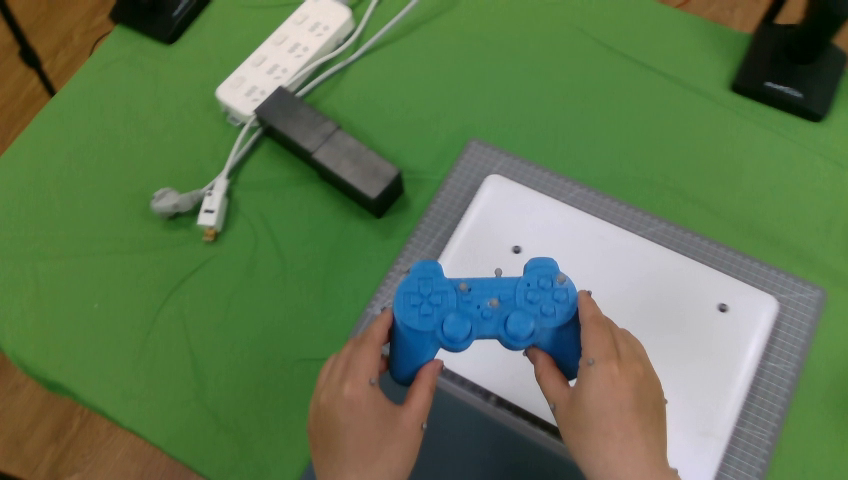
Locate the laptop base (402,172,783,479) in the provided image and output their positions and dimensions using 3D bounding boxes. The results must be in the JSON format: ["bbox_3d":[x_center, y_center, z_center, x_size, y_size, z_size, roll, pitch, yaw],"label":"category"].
[{"bbox_3d":[0.181,0.089,0.666,0.353,0.023,0.235,26,75,13],"label":"laptop base"}]

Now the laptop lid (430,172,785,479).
[{"bbox_3d":[0.179,0.086,0.655,0.355,0.013,0.241,28,74,14],"label":"laptop lid"}]

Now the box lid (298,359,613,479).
[{"bbox_3d":[0.040,0.305,0.592,0.370,0.015,0.262,26,72,13],"label":"box lid"}]

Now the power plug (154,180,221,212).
[{"bbox_3d":[-0.296,-0.057,0.752,0.052,0.035,0.073,22,28,36],"label":"power plug"}]

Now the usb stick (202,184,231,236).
[{"bbox_3d":[-0.252,-0.035,0.733,0.021,0.027,0.059,8,76,-1],"label":"usb stick"}]

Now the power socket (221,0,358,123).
[{"bbox_3d":[-0.178,-0.248,0.814,0.072,0.033,0.226,35,73,15],"label":"power socket"}]

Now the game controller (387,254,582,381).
[{"bbox_3d":[0.048,0.059,0.478,0.155,0.052,0.096,0,71,-2],"label":"game controller"}]
